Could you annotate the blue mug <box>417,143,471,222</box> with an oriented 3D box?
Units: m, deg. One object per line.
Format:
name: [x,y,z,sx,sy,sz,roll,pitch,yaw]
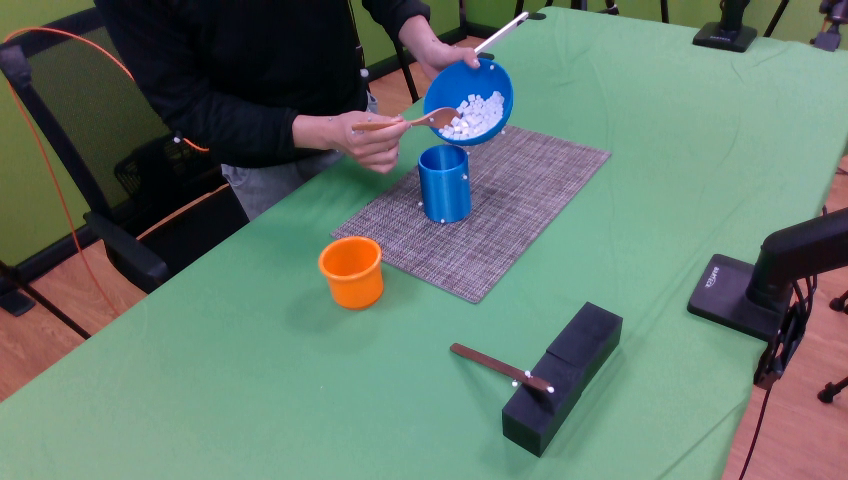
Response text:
blue mug: [0.031,-0.105,1.014,0.082,0.106,0.115,-14,41,-7]

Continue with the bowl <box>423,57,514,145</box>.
bowl: [0.081,-0.214,0.993,0.151,0.077,0.151,-7,69,18]

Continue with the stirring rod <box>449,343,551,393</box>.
stirring rod: [0.088,0.154,0.741,0.014,0.006,0.174,-40,28,-25]

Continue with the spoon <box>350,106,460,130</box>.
spoon: [-0.025,-0.182,0.926,0.195,0.041,0.021,-15,56,-35]
